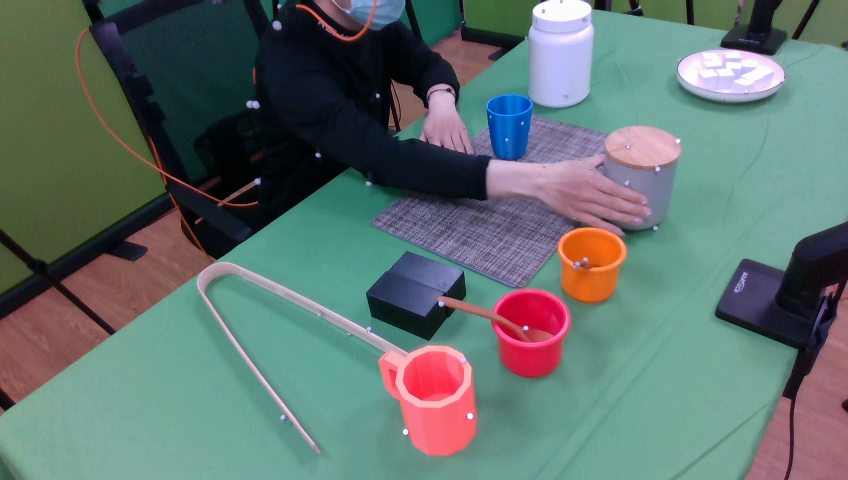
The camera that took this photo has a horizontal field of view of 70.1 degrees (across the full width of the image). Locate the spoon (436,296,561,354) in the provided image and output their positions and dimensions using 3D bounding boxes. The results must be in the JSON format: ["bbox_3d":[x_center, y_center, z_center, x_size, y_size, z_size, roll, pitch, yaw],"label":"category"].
[{"bbox_3d":[0.095,0.102,0.750,0.195,0.021,0.041,28,31,-28],"label":"spoon"}]

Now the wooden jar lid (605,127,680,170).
[{"bbox_3d":[0.327,-0.134,0.909,0.108,0.021,0.108,-2,43,2],"label":"wooden jar lid"}]

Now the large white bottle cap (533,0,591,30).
[{"bbox_3d":[0.274,-0.450,1.204,0.115,0.018,0.114,-4,41,4],"label":"large white bottle cap"}]

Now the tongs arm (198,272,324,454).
[{"bbox_3d":[-0.236,0.154,0.831,0.028,0.028,0.384,-37,48,-18],"label":"tongs arm"}]

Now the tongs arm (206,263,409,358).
[{"bbox_3d":[-0.179,0.106,0.870,0.382,0.027,0.051,23,54,32],"label":"tongs arm"}]

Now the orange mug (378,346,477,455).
[{"bbox_3d":[0.002,0.179,0.708,0.125,0.101,0.083,25,50,27],"label":"orange mug"}]

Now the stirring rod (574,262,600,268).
[{"bbox_3d":[0.221,0.033,0.816,0.014,0.006,0.177,9,2,22],"label":"stirring rod"}]

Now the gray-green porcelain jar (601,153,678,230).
[{"bbox_3d":[0.334,-0.087,0.949,0.106,0.127,0.105,-4,40,4],"label":"gray-green porcelain jar"}]

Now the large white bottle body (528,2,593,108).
[{"bbox_3d":[0.283,-0.386,1.259,0.130,0.185,0.130,-5,41,4],"label":"large white bottle body"}]

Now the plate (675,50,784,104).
[{"bbox_3d":[0.632,-0.336,1.262,0.207,0.039,0.206,-4,41,4],"label":"plate"}]

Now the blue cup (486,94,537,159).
[{"bbox_3d":[0.161,-0.208,1.129,0.092,0.100,0.092,-4,39,4],"label":"blue cup"}]
